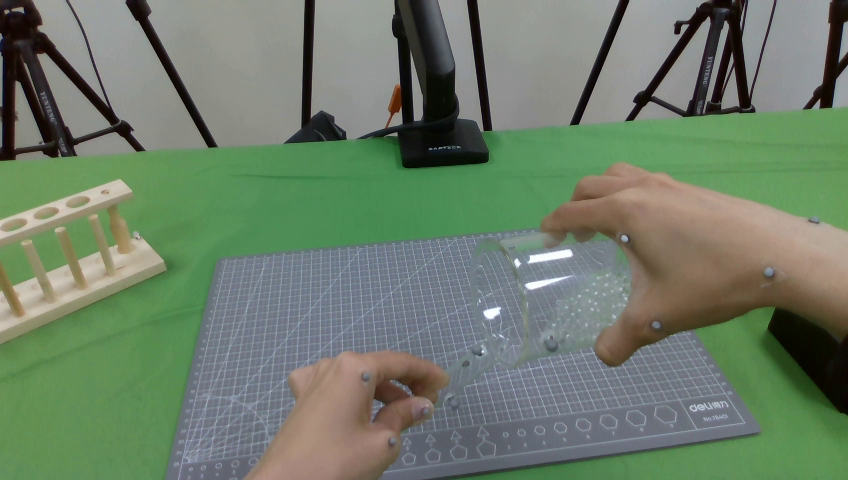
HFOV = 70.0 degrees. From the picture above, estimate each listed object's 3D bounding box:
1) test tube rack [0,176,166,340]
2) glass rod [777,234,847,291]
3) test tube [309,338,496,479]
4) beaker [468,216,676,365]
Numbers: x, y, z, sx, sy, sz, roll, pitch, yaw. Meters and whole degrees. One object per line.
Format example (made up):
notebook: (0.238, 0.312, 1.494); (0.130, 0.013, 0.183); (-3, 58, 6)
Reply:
test tube rack: (-0.385, 0.029, 0.573); (0.242, 0.086, 0.066); (-28, 45, -33)
glass rod: (0.371, 0.050, 0.508); (0.008, 0.008, 0.197); (-11, 37, -13)
test tube: (-0.016, 0.110, 0.379); (0.150, 0.017, 0.017); (-40, 36, 13)
beaker: (0.085, 0.028, 0.353); (0.100, 0.084, 0.073); (-9, 42, -16)
